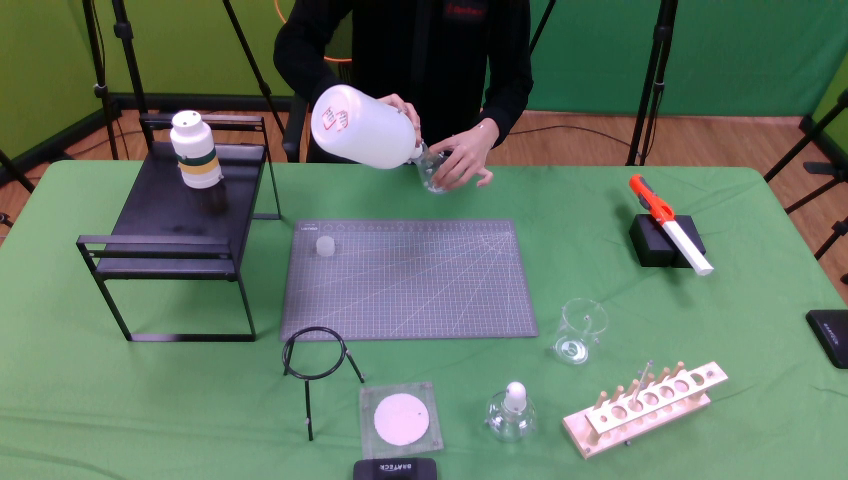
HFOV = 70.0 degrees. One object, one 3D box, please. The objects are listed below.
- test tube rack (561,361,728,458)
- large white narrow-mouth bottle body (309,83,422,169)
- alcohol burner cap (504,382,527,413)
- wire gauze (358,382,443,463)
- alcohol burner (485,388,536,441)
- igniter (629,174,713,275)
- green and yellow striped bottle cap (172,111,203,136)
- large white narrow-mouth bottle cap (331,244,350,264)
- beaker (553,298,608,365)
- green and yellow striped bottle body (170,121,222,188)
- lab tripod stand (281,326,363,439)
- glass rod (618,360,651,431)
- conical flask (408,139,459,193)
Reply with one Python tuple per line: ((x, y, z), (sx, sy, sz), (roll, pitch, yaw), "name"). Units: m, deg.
((0.341, 0.248, 0.940), (0.243, 0.085, 0.066), (-15, 49, -18), "test tube rack")
((-0.076, -0.165, 0.942), (0.195, 0.102, 0.101), (15, 30, -48), "large white narrow-mouth bottle body")
((0.133, 0.225, 0.877), (0.034, 0.048, 0.033), (-4, 47, 5), "alcohol burner cap")
((-0.039, 0.276, 0.937), (0.121, 0.011, 0.124), (-4, 47, -7), "wire gauze")
((0.131, 0.249, 0.904), (0.078, 0.120, 0.077), (1, 48, -1), "alcohol burner")
((0.481, -0.040, 1.202), (0.057, 0.025, 0.274), (-2, 46, -21), "igniter")
((-0.374, -0.185, 0.957), (0.045, 0.020, 0.045), (4, 45, -3), "green and yellow striped bottle cap")
((-0.160, 0.026, 1.161), (0.038, 0.024, 0.037), (4, 46, -4), "large white narrow-mouth bottle cap")
((0.260, 0.154, 1.014), (0.073, 0.101, 0.084), (37, 54, 27), "beaker")
((-0.375, -0.149, 0.995), (0.063, 0.120, 0.063), (2, 46, -2), "green and yellow striped bottle body")
((-0.166, 0.203, 0.913), (0.148, 0.132, 0.147), (1, 47, -1), "lab tripod stand")
((0.298, 0.227, 0.865), (0.008, 0.201, 0.008), (-1, 48, 2), "glass rod")
((0.009, -0.135, 1.070), (0.075, 0.122, 0.075), (-7, 72, 22), "conical flask")
